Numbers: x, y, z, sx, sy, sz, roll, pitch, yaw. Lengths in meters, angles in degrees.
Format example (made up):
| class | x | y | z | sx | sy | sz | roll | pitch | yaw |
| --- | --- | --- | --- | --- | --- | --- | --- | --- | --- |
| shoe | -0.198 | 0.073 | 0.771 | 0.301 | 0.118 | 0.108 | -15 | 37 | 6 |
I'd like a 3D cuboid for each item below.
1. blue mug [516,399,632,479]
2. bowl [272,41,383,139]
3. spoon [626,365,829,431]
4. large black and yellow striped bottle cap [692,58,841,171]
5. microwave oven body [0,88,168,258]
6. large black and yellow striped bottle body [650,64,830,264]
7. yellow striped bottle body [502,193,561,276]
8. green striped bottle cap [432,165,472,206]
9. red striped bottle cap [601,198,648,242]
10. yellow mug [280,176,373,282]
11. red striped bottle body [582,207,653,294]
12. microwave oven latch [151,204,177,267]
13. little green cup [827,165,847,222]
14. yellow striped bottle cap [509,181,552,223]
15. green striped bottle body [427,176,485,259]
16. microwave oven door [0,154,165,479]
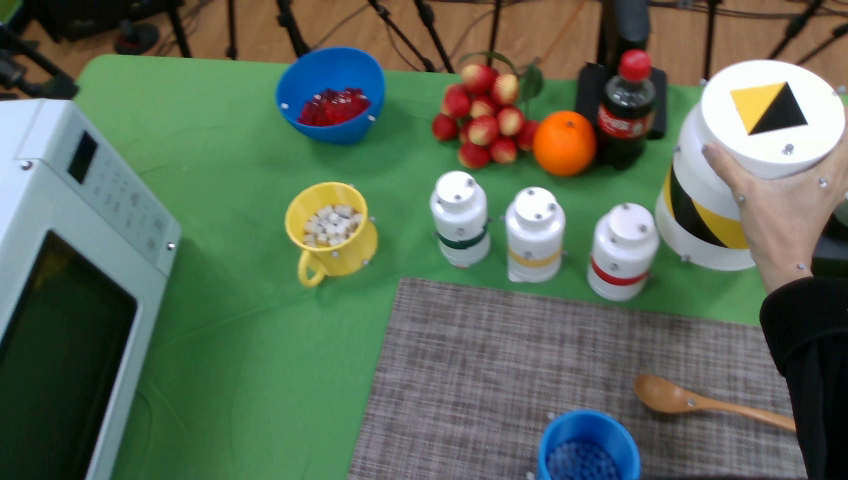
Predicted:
| class | x | y | z | sx | sy | sz | roll | pitch | yaw |
| --- | --- | --- | --- | --- | --- | --- | --- | --- | --- |
| blue mug | 0.125 | 0.208 | 0.552 | 0.116 | 0.107 | 0.081 | -26 | 59 | -7 |
| bowl | -0.125 | -0.195 | 0.845 | 0.151 | 0.077 | 0.150 | -3 | 60 | 6 |
| spoon | 0.299 | 0.161 | 0.602 | 0.193 | 0.022 | 0.041 | 10 | 40 | 14 |
| large black and yellow striped bottle cap | 0.293 | -0.111 | 0.521 | 0.115 | 0.019 | 0.114 | -4 | 59 | 7 |
| microwave oven body | -0.505 | 0.101 | 0.615 | 0.325 | 0.262 | 0.438 | -1 | 60 | 7 |
| large black and yellow striped bottle body | 0.305 | -0.071 | 0.595 | 0.130 | 0.185 | 0.129 | -4 | 61 | 7 |
| yellow striped bottle body | 0.120 | -0.013 | 0.678 | 0.063 | 0.121 | 0.062 | -4 | 59 | 7 |
| green striped bottle cap | 0.030 | -0.059 | 0.657 | 0.044 | 0.020 | 0.044 | -3 | 58 | 5 |
| red striped bottle cap | 0.201 | -0.021 | 0.609 | 0.044 | 0.018 | 0.044 | -2 | 58 | 3 |
| yellow mug | -0.125 | -0.008 | 0.742 | 0.099 | 0.064 | 0.130 | 16 | 64 | 17 |
| red striped bottle body | 0.208 | 0.006 | 0.654 | 0.063 | 0.121 | 0.062 | -3 | 59 | 6 |
| microwave oven latch | -0.337 | -0.006 | 0.766 | 0.030 | 0.030 | 0.078 | 1 | 61 | 8 |
| little green cup | 0.460 | -0.048 | 0.637 | 0.061 | 0.039 | 0.061 | -2 | 58 | 4 |
| yellow striped bottle cap | 0.111 | -0.040 | 0.633 | 0.044 | 0.019 | 0.044 | -1 | 57 | 2 |
| green striped bottle body | 0.038 | -0.032 | 0.701 | 0.063 | 0.120 | 0.062 | -3 | 59 | 6 |
| microwave oven door | -0.364 | 0.132 | 0.570 | 0.039 | 0.246 | 0.352 | -1 | 60 | 8 |
